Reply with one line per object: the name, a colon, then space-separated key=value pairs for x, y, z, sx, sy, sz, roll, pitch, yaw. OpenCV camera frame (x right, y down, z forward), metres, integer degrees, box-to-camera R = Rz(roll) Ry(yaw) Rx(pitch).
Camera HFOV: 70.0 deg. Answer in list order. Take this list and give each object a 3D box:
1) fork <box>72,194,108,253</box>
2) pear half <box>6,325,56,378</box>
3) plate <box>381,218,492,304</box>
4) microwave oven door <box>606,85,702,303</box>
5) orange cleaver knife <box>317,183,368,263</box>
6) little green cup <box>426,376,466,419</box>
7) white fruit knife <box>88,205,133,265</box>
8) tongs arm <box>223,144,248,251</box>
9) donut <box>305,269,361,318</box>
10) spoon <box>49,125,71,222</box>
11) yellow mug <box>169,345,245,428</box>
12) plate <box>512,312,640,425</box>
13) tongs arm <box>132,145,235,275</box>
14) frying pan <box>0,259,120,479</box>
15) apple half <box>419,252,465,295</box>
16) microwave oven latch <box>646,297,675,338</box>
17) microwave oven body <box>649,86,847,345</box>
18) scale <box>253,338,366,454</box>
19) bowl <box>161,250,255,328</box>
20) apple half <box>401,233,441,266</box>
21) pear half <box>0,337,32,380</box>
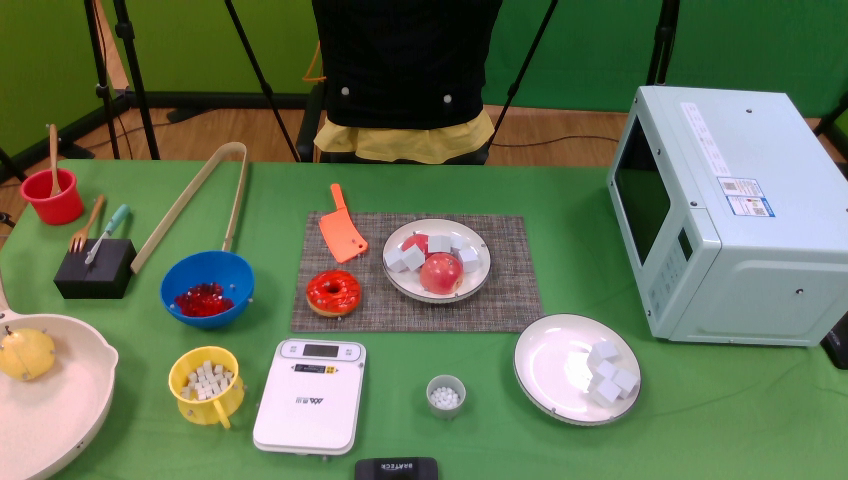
fork: x=-0.634 y=-0.036 z=1.158 sx=0.028 sy=0.019 sz=0.206 roll=-8 pitch=32 yaw=-8
pear half: x=-0.608 y=0.158 z=0.935 sx=0.076 sy=0.110 sz=0.056 roll=31 pitch=51 yaw=20
plate: x=0.023 y=0.042 z=1.143 sx=0.209 sy=0.038 sz=0.208 roll=2 pitch=46 yaw=-2
microwave oven door: x=0.422 y=-0.094 z=1.140 sx=0.039 sy=0.245 sz=0.353 roll=2 pitch=46 yaw=-1
orange cleaver knife: x=-0.174 y=-0.037 z=1.218 sx=0.077 sy=0.012 sz=0.210 roll=-17 pitch=51 yaw=-11
little green cup: x=0.033 y=0.248 z=0.950 sx=0.061 sy=0.039 sz=0.061 roll=2 pitch=46 yaw=-2
white fruit knife: x=-0.584 y=-0.013 z=1.129 sx=0.016 sy=0.027 sz=0.206 roll=0 pitch=32 yaw=-5
tongs arm: x=-0.398 y=-0.072 z=1.232 sx=0.051 sy=0.027 sz=0.382 roll=-3 pitch=45 yaw=0
donut: x=-0.160 y=0.094 z=1.075 sx=0.099 sy=0.048 sz=0.098 roll=4 pitch=45 yaw=-3
spoon: x=-0.719 y=-0.131 z=1.189 sx=0.041 sy=0.021 sz=0.193 roll=-4 pitch=91 yaw=-5
yellow mug: x=-0.322 y=0.230 z=0.922 sx=0.100 sy=0.064 sz=0.130 roll=-24 pitch=53 yaw=-25
plate: x=0.246 y=0.213 z=0.999 sx=0.208 sy=0.039 sz=0.206 roll=2 pitch=46 yaw=-2
tongs arm: x=-0.483 y=-0.075 z=1.236 sx=0.028 sy=0.028 sz=0.385 roll=5 pitch=45 yaw=13
frying pan: x=-0.647 y=0.164 z=0.936 sx=0.307 sy=0.103 sz=0.485 roll=-19 pitch=58 yaw=-22
apple half: x=0.035 y=0.056 z=1.109 sx=0.074 sy=0.053 sz=0.081 roll=37 pitch=55 yaw=25
microwave oven latch: x=0.412 y=0.134 z=1.061 sx=0.030 sy=0.029 sz=0.078 roll=4 pitch=45 yaw=1
microwave oven body: x=0.567 y=-0.053 z=1.118 sx=0.326 sy=0.261 sz=0.439 roll=2 pitch=45 yaw=-1
scale: x=-0.175 y=0.236 z=0.951 sx=0.149 sy=0.032 sz=0.199 roll=5 pitch=45 yaw=-1
bowl: x=-0.362 y=0.098 z=1.039 sx=0.151 sy=0.077 sz=0.150 roll=2 pitch=45 yaw=-2
apple half: x=-0.004 y=0.013 z=1.160 sx=0.081 sy=0.033 sz=0.081 roll=5 pitch=44 yaw=-5
pear half: x=-0.631 y=0.184 z=0.921 sx=0.070 sy=0.088 sz=0.031 roll=29 pitch=49 yaw=19
